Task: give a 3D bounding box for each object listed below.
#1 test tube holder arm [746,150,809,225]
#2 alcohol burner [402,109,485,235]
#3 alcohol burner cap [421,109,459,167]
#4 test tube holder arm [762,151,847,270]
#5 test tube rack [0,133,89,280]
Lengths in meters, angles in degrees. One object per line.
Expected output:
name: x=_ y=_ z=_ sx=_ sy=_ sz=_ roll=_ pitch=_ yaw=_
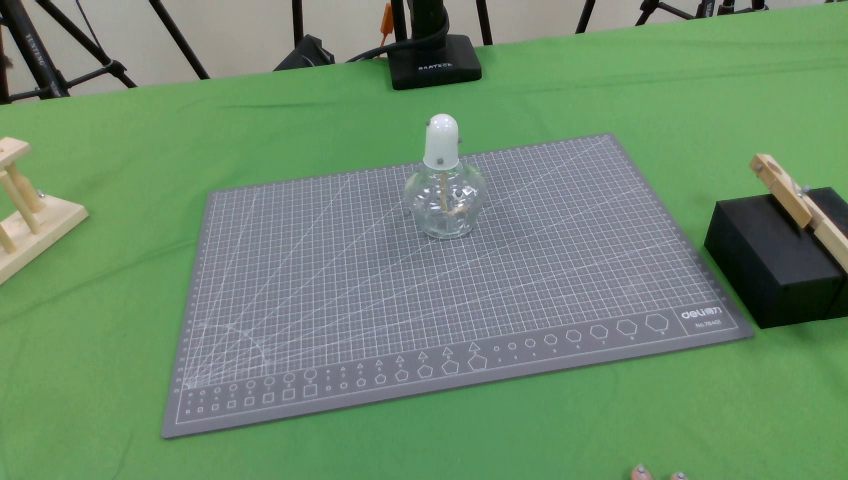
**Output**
test tube holder arm: x=0.295 y=-0.045 z=0.503 sx=0.010 sy=0.015 sz=0.087 roll=-1 pitch=43 yaw=-8
alcohol burner: x=0.017 y=-0.064 z=0.551 sx=0.078 sy=0.120 sz=0.077 roll=-3 pitch=41 yaw=3
alcohol burner cap: x=0.015 y=-0.090 z=0.526 sx=0.034 sy=0.048 sz=0.033 roll=1 pitch=42 yaw=-1
test tube holder arm: x=0.306 y=-0.015 z=0.472 sx=0.013 sy=0.015 sz=0.176 roll=-2 pitch=43 yaw=-8
test tube rack: x=-0.437 y=0.007 z=0.545 sx=0.066 sy=0.086 sz=0.241 roll=15 pitch=46 yaw=21
